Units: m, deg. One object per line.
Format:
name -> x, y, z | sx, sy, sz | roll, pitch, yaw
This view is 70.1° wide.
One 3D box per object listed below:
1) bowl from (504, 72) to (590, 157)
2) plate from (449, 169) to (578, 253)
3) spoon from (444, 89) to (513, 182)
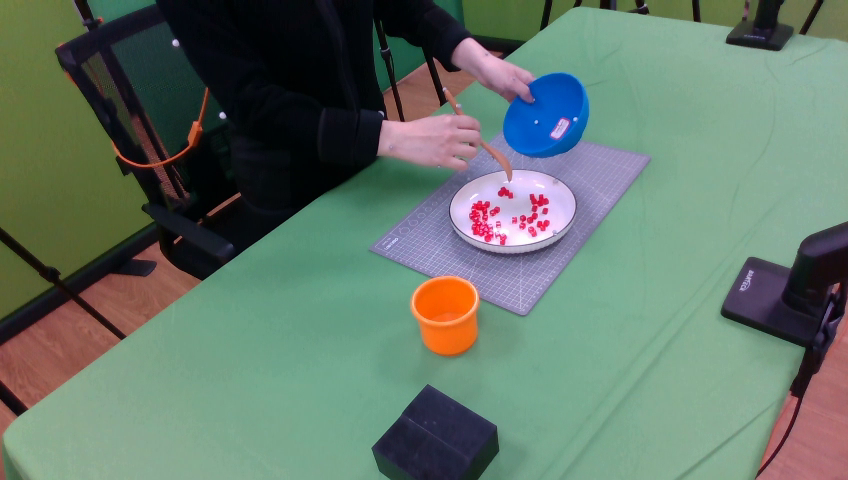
bowl -> 0.218, -0.196, 1.015 | 0.150, 0.077, 0.150 | -20, 56, 33
plate -> 0.146, -0.044, 0.993 | 0.209, 0.038, 0.208 | -5, 40, 5
spoon -> 0.086, -0.156, 0.924 | 0.021, 0.195, 0.041 | -31, 37, 26
